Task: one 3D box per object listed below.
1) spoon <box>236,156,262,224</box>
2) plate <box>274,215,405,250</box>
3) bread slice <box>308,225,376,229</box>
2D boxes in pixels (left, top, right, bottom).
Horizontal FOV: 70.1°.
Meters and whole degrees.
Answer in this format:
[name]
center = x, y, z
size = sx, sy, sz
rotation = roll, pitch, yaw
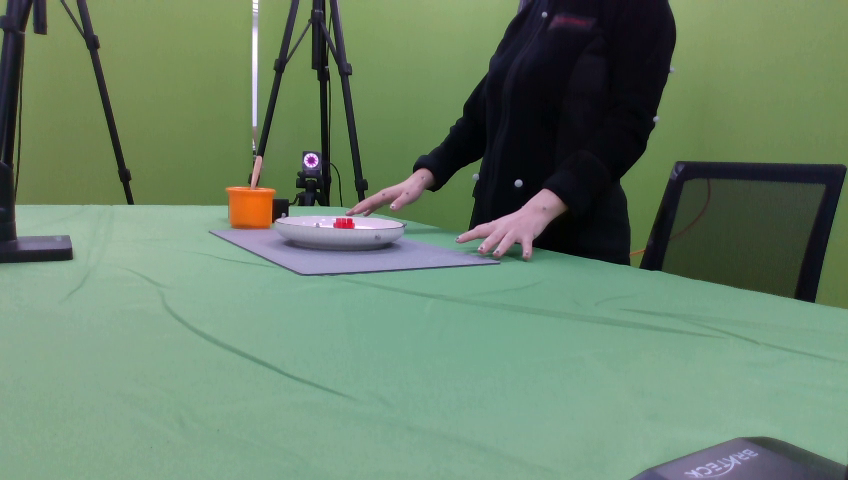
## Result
[spoon]
center = -0.338, -0.102, 1.197
size = 0.042, 0.193, 0.021
rotation = 1, -37, -4
[plate]
center = -0.136, -0.013, 0.981
size = 0.209, 0.038, 0.209
rotation = 2, 7, 0
[bread slice]
center = -0.133, -0.011, 0.974
size = 0.135, 0.018, 0.106
rotation = -3, 8, -33
